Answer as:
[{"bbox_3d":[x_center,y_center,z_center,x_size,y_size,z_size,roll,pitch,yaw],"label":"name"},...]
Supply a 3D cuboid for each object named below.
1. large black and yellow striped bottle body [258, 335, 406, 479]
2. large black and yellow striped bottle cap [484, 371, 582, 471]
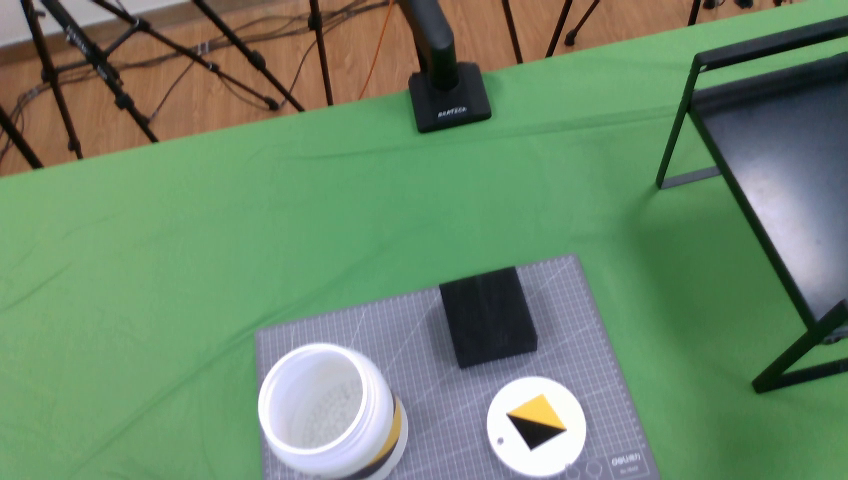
[{"bbox_3d":[-0.097,0.185,0.662,0.130,0.185,0.129,-3,62,7],"label":"large black and yellow striped bottle body"},{"bbox_3d":[0.127,0.211,0.712,0.115,0.019,0.114,-3,61,6],"label":"large black and yellow striped bottle cap"}]
